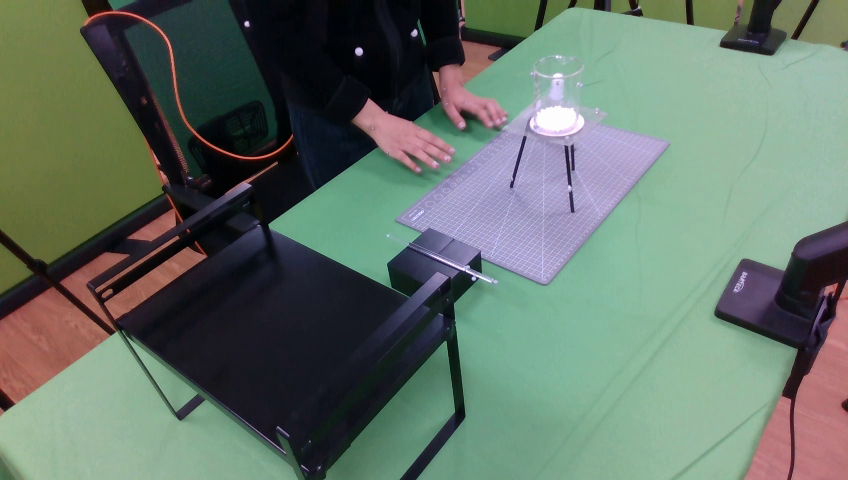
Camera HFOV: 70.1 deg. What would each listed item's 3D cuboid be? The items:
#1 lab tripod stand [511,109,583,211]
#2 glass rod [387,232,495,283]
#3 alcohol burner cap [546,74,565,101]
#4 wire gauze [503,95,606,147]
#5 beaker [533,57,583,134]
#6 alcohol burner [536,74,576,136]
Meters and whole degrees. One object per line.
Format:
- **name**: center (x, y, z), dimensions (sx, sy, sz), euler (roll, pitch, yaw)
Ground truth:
- **lab tripod stand**: center (0.220, -0.138, 1.014), dimensions (0.148, 0.132, 0.147), euler (-3, 41, 3)
- **glass rod**: center (0.020, 0.024, 0.880), dimensions (0.198, 0.008, 0.008), euler (23, 49, 32)
- **alcohol burner cap**: center (0.251, -0.292, 1.150), dimensions (0.034, 0.048, 0.033), euler (0, 41, 0)
- **wire gauze**: center (0.212, -0.191, 0.976), dimensions (0.120, 0.011, 0.125), euler (24, 52, 33)
- **beaker**: center (0.208, -0.225, 0.941), dimensions (0.073, 0.101, 0.084), euler (11, 44, 20)
- **alcohol burner**: center (0.256, -0.264, 1.173), dimensions (0.078, 0.119, 0.077), euler (-6, 40, 6)
